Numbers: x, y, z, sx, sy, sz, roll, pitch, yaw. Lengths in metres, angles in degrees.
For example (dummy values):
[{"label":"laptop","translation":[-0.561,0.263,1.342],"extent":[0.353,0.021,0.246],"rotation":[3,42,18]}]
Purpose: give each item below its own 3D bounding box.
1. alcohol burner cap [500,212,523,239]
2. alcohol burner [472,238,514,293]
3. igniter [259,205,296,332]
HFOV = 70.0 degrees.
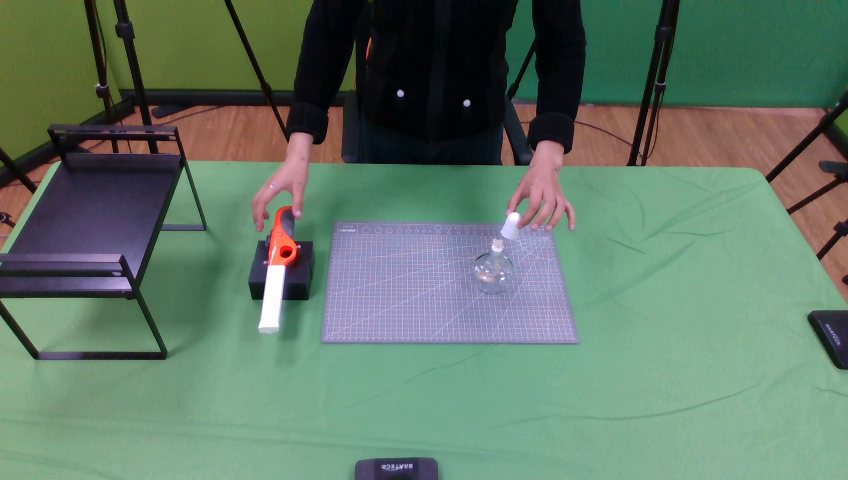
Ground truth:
[{"label":"alcohol burner cap","translation":[0.155,-0.028,1.055],"extent":[0.034,0.048,0.033],"rotation":[10,39,-8]},{"label":"alcohol burner","translation":[0.128,0.041,1.101],"extent":[0.078,0.120,0.077],"rotation":[1,47,-1]},{"label":"igniter","translation":[-0.259,0.040,1.071],"extent":[0.057,0.025,0.274],"rotation":[0,50,-5]}]
